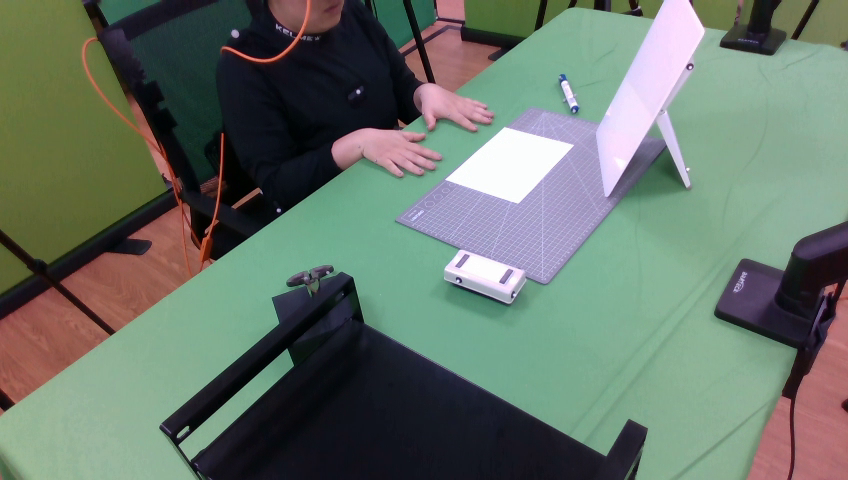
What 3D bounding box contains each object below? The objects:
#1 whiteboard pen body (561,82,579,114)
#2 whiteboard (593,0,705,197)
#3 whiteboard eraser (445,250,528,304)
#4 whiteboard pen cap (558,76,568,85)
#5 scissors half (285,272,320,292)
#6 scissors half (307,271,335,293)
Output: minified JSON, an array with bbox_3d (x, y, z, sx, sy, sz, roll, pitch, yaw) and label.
[{"bbox_3d":[0.310,-0.311,1.298,0.017,0.017,0.140,-6,41,2],"label":"whiteboard pen body"},{"bbox_3d":[0.421,-0.227,1.009,0.144,0.305,0.216,17,41,-3],"label":"whiteboard"},{"bbox_3d":[0.090,0.056,0.882,0.112,0.042,0.056,18,44,27],"label":"whiteboard eraser"},{"bbox_3d":[0.309,-0.350,1.340,0.018,0.018,0.033,-6,41,2],"label":"whiteboard pen cap"},{"bbox_3d":[-0.171,0.063,0.868,0.040,0.013,0.174,-11,7,-21],"label":"scissors half"},{"bbox_3d":[-0.152,0.061,0.873,0.040,0.013,0.175,-4,6,-4],"label":"scissors half"}]
